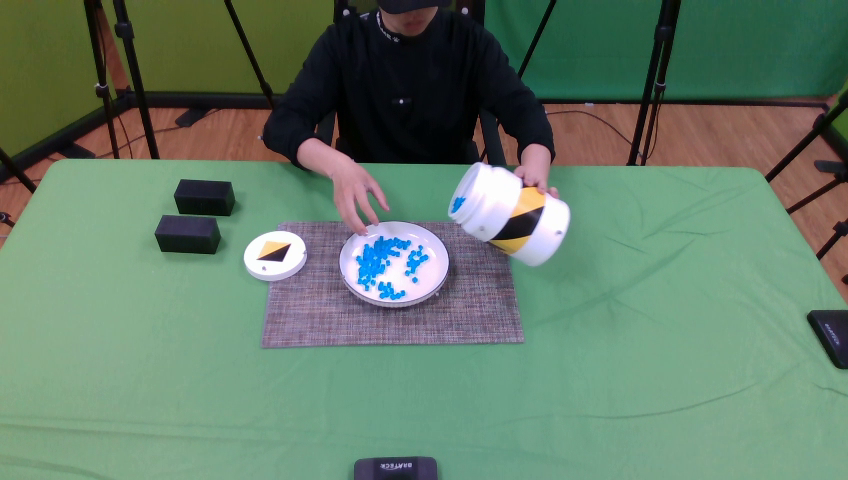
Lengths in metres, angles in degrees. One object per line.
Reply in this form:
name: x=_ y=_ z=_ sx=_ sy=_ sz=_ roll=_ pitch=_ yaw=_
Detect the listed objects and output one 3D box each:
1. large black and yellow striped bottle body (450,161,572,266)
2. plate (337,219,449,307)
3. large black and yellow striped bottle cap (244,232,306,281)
large black and yellow striped bottle body: x=0.150 y=-0.049 z=1.065 sx=0.184 sy=0.131 sz=0.130 roll=28 pitch=45 yaw=-13
plate: x=-0.057 y=0.045 z=1.133 sx=0.208 sy=0.039 sz=0.206 roll=2 pitch=46 yaw=-2
large black and yellow striped bottle cap: x=-0.282 y=0.030 z=1.145 sx=0.115 sy=0.019 sz=0.114 roll=-1 pitch=45 yaw=1
